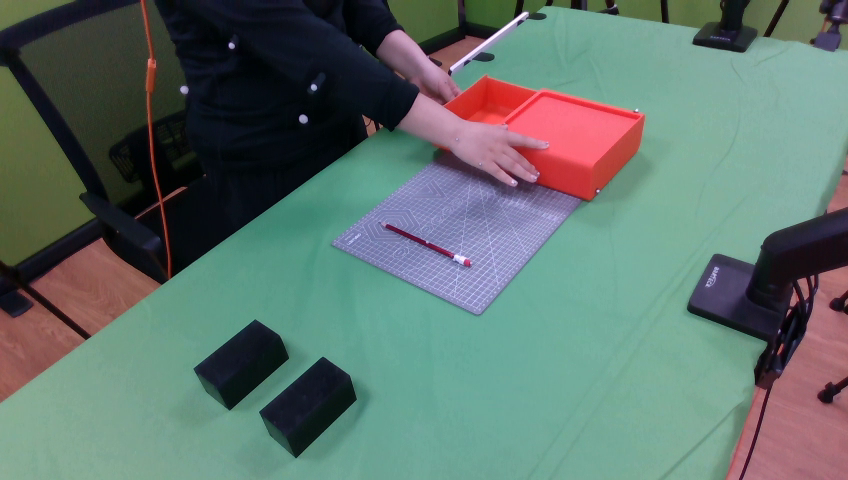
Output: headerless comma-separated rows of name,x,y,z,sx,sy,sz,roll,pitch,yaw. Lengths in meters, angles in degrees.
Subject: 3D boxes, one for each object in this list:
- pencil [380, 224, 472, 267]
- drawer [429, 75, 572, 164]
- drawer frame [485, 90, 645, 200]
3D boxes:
pencil,-0.002,0.005,0.970,0.192,0.012,0.012,24,49,33
drawer,0.150,-0.225,1.163,0.210,0.073,0.195,25,50,31
drawer frame,0.253,-0.180,1.095,0.212,0.083,0.202,24,48,31
